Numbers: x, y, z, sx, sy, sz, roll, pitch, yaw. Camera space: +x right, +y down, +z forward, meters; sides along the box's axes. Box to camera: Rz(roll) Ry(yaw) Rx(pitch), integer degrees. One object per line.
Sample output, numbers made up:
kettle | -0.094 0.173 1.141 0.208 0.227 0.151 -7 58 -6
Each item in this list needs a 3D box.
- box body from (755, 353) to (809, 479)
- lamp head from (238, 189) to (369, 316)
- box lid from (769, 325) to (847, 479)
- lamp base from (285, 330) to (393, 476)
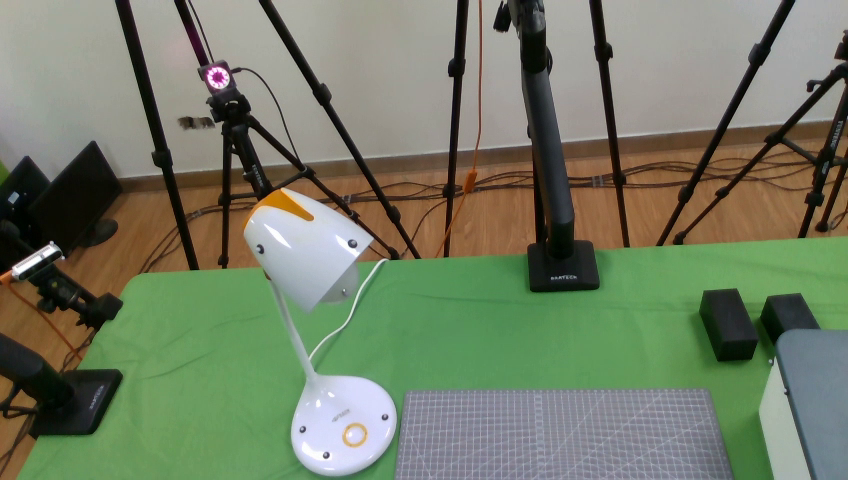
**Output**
box body | 0.540 0.288 0.661 0.253 0.162 0.361 0 44 12
lamp head | -0.139 0.006 0.655 0.123 0.113 0.112 37 54 0
box lid | 0.530 0.233 0.612 0.263 0.015 0.368 0 44 12
lamp base | -0.145 0.218 0.868 0.177 0.182 0.160 28 55 37
